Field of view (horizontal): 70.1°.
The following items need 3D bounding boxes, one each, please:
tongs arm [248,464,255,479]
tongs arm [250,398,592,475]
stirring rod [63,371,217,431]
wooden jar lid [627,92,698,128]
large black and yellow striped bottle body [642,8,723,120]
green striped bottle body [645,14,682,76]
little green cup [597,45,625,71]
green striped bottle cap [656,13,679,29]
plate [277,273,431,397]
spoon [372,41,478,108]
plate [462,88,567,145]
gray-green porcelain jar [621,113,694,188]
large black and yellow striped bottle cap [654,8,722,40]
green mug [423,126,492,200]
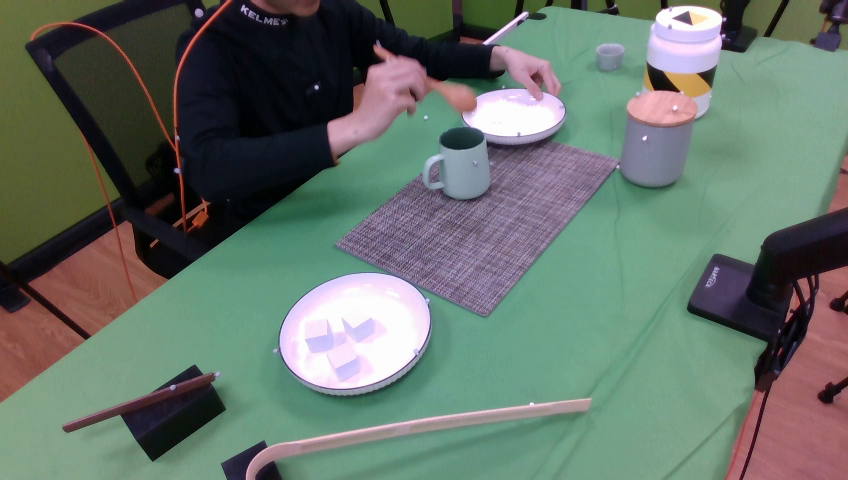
[{"bbox_3d":[0.012,0.262,0.614,0.385,0.026,0.050,3,42,-2],"label":"tongs arm"},{"bbox_3d":[0.008,0.212,0.675,0.389,0.028,0.028,-5,46,-11],"label":"tongs arm"},{"bbox_3d":[-0.337,0.192,0.723,0.177,0.014,0.005,-18,43,-12],"label":"stirring rod"},{"bbox_3d":[0.384,-0.207,0.980,0.108,0.021,0.108,-6,39,5],"label":"wooden jar lid"},{"bbox_3d":[0.493,-0.334,1.161,0.131,0.185,0.130,-4,41,4],"label":"large black and yellow striped bottle body"},{"bbox_3d":[0.520,-0.424,1.312,0.063,0.120,0.063,-4,41,4],"label":"green striped bottle body"},{"bbox_3d":[0.422,-0.413,1.375,0.061,0.039,0.061,-3,41,3],"label":"little green cup"},{"bbox_3d":[0.515,-0.463,1.278,0.044,0.020,0.044,-6,42,6],"label":"green striped bottle cap"},{"bbox_3d":[-0.091,0.129,0.821,0.207,0.039,0.206,-4,40,4],"label":"plate"},{"bbox_3d":[0.002,-0.270,0.982,0.194,0.041,0.021,26,1,-7],"label":"spoon"},{"bbox_3d":[0.179,-0.244,1.211,0.209,0.038,0.208,-3,39,3],"label":"plate"},{"bbox_3d":[0.390,-0.161,1.020,0.106,0.127,0.105,-4,41,4],"label":"gray-green porcelain jar"},{"bbox_3d":[0.483,-0.397,1.108,0.115,0.019,0.114,-3,41,3],"label":"large black and yellow striped bottle cap"},{"bbox_3d":[0.055,-0.126,1.039,0.126,0.105,0.091,-25,44,-18],"label":"green mug"}]
